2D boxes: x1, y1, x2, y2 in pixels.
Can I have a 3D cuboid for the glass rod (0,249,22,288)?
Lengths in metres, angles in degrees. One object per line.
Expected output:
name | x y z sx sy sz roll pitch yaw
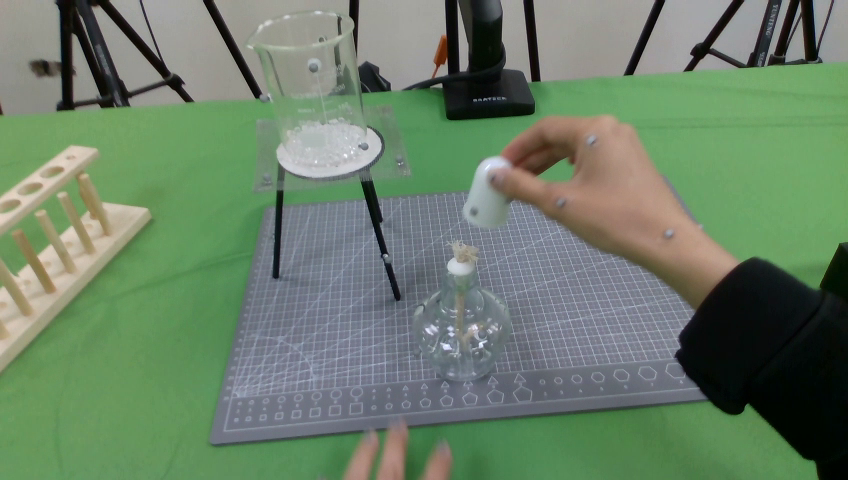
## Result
glass rod | -0.398 -0.038 0.521 0.008 0.201 0.008 -6 34 4

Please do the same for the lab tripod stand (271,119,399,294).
lab tripod stand | -0.079 -0.030 0.549 0.148 0.133 0.147 -2 41 3

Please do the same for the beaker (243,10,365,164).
beaker | -0.089 -0.117 0.475 0.084 0.101 0.073 -9 40 -5

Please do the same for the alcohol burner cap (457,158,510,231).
alcohol burner cap | 0.042 -0.033 0.414 0.034 0.048 0.033 6 42 -5

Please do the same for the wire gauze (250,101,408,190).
wire gauze | -0.082 -0.080 0.507 0.125 0.011 0.120 -10 38 -4

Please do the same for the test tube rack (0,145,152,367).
test tube rack | -0.366 0.012 0.563 0.066 0.086 0.240 8 41 13

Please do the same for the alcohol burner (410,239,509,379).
alcohol burner | 0.026 0.049 0.462 0.078 0.120 0.077 -3 38 2
